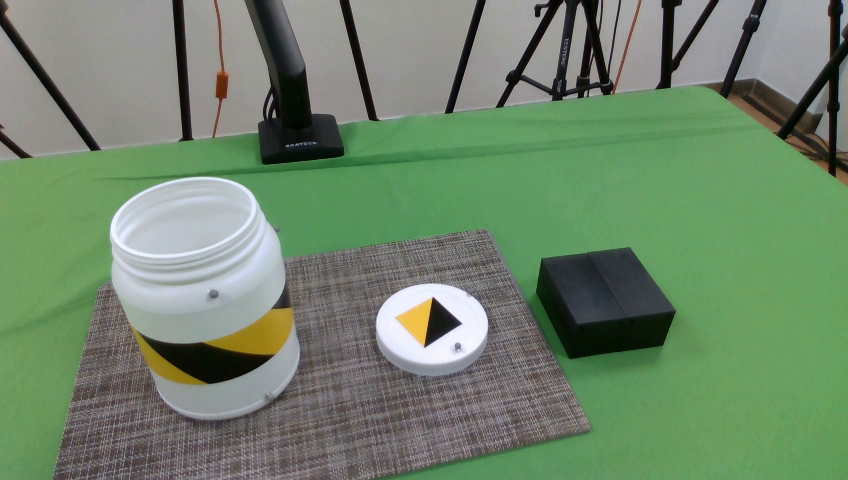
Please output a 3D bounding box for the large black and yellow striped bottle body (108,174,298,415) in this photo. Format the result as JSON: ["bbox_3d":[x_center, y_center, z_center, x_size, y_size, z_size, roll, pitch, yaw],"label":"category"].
[{"bbox_3d":[-0.186,0.048,0.525,0.131,0.185,0.129,0,39,0],"label":"large black and yellow striped bottle body"}]

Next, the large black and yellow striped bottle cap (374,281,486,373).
[{"bbox_3d":[0.006,0.085,0.617,0.115,0.019,0.114,0,38,1],"label":"large black and yellow striped bottle cap"}]
